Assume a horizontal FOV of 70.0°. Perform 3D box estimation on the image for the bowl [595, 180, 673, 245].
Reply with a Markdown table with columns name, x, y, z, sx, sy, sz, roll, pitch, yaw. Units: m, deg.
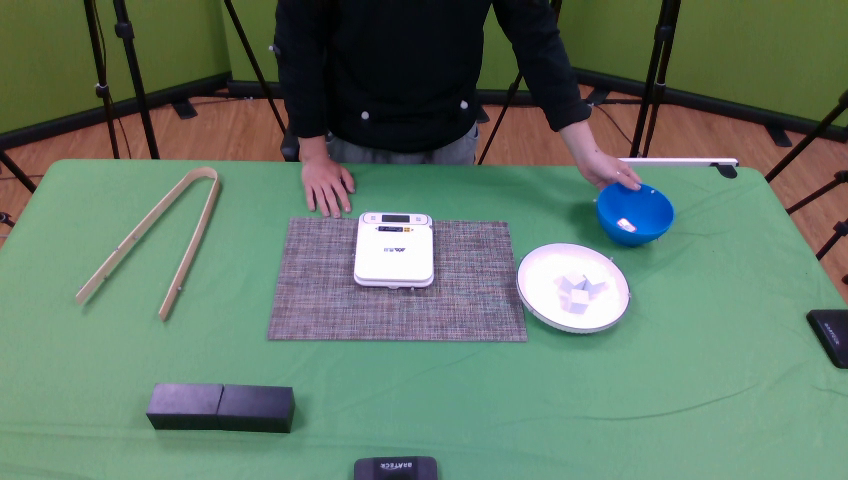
| name | x | y | z | sx | sy | sz | roll | pitch | yaw |
| --- | --- | --- | --- | --- | --- | --- | --- | --- | --- |
| bowl | 0.416 | -0.043 | 1.228 | 0.151 | 0.077 | 0.150 | 1 | 48 | -1 |

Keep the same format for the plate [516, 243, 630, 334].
| name | x | y | z | sx | sy | sz | roll | pitch | yaw |
| --- | --- | --- | --- | --- | --- | --- | --- | --- | --- |
| plate | 0.272 | 0.092 | 1.120 | 0.208 | 0.039 | 0.206 | 2 | 46 | -2 |

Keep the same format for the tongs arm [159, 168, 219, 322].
| name | x | y | z | sx | sy | sz | roll | pitch | yaw |
| --- | --- | --- | --- | --- | --- | --- | --- | --- | --- |
| tongs arm | -0.446 | -0.006 | 1.165 | 0.028 | 0.028 | 0.385 | 1 | 46 | 0 |

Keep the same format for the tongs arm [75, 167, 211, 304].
| name | x | y | z | sx | sy | sz | roll | pitch | yaw |
| --- | --- | --- | --- | --- | --- | --- | --- | --- | --- |
| tongs arm | -0.526 | -0.021 | 1.167 | 0.051 | 0.026 | 0.383 | 13 | 46 | 7 |

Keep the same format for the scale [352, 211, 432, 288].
| name | x | y | z | sx | sy | sz | roll | pitch | yaw |
| --- | --- | --- | --- | --- | --- | --- | --- | --- | --- |
| scale | -0.060 | 0.010 | 1.171 | 0.149 | 0.032 | 0.199 | 2 | 46 | -3 |
